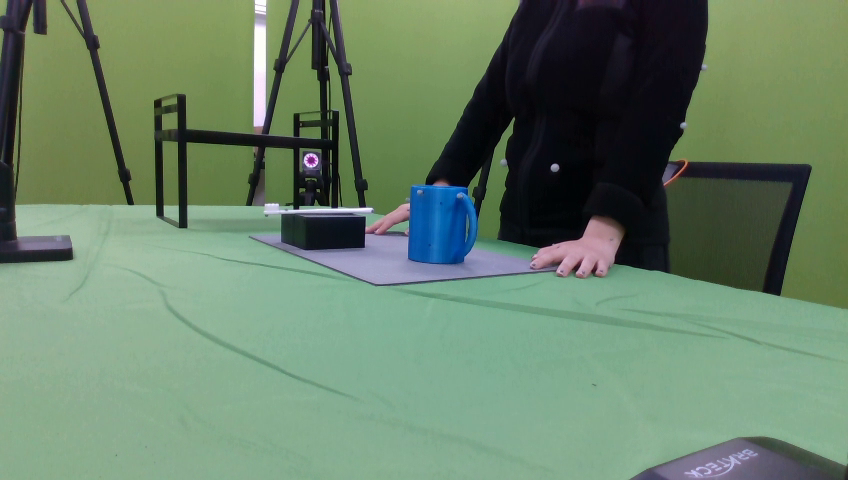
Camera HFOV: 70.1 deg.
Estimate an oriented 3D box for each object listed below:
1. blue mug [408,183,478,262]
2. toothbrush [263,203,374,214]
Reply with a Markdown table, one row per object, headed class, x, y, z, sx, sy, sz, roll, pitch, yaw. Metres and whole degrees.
| class | x | y | z | sx | sy | sz | roll | pitch | yaw |
| --- | --- | --- | --- | --- | --- | --- | --- | --- | --- |
| blue mug | 0.030 | -0.024 | 0.843 | 0.083 | 0.106 | 0.116 | -4 | 10 | -43 |
| toothbrush | -0.160 | -0.049 | 0.943 | 0.183 | 0.016 | 0.014 | -2 | 1 | -32 |
